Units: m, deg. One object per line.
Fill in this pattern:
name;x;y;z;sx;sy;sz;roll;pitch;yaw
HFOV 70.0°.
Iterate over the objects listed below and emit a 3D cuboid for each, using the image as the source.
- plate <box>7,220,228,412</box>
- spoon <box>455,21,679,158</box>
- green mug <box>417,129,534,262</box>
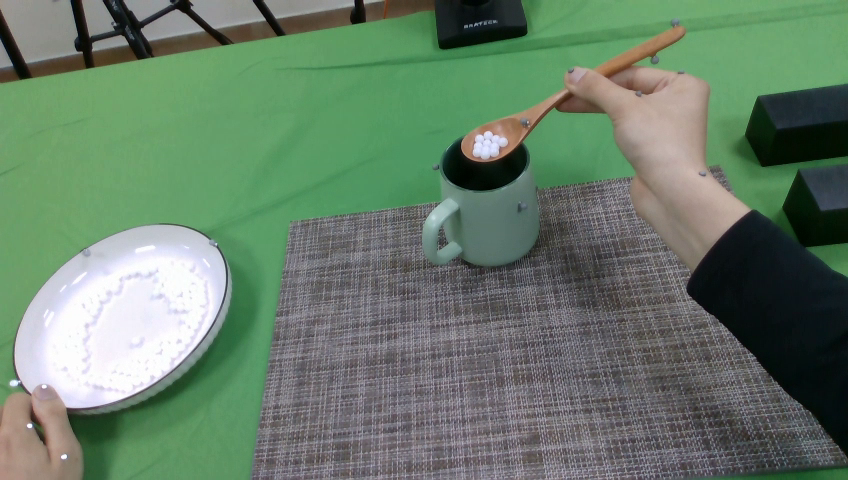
plate;-0.287;0.070;0.584;0.209;0.038;0.207;-5;51;7
spoon;0.112;-0.120;0.486;0.193;0.022;0.041;-30;54;18
green mug;0.043;-0.030;0.552;0.125;0.106;0.091;-41;56;-21
